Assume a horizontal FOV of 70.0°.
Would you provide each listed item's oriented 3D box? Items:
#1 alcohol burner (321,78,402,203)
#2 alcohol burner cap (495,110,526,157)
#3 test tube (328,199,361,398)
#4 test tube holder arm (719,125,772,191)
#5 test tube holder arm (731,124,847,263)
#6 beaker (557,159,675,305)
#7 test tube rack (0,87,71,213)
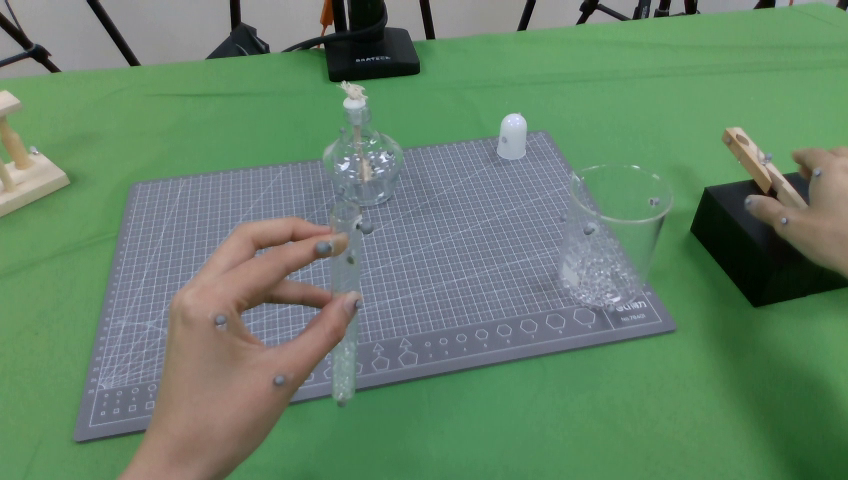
[{"bbox_3d":[-0.061,-0.095,0.572,0.078,0.120,0.077,-2,42,2],"label":"alcohol burner"},{"bbox_3d":[0.093,-0.116,0.646,0.034,0.048,0.033,0,43,1],"label":"alcohol burner cap"},{"bbox_3d":[-0.044,0.040,0.336,0.017,0.151,0.017,4,41,-3],"label":"test tube"},{"bbox_3d":[0.296,-0.076,0.553,0.010,0.015,0.087,-12,44,0],"label":"test tube holder arm"},{"bbox_3d":[0.308,-0.047,0.521,0.013,0.015,0.176,-12,44,0],"label":"test tube holder arm"},{"bbox_3d":[0.145,-0.005,0.484,0.074,0.101,0.083,-31,50,-28],"label":"beaker"},{"bbox_3d":[-0.470,-0.045,0.548,0.066,0.086,0.242,31,51,29],"label":"test tube rack"}]
